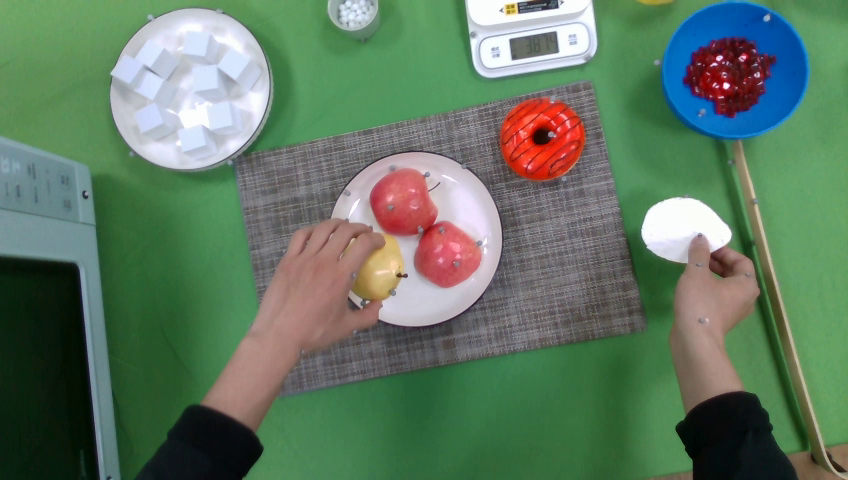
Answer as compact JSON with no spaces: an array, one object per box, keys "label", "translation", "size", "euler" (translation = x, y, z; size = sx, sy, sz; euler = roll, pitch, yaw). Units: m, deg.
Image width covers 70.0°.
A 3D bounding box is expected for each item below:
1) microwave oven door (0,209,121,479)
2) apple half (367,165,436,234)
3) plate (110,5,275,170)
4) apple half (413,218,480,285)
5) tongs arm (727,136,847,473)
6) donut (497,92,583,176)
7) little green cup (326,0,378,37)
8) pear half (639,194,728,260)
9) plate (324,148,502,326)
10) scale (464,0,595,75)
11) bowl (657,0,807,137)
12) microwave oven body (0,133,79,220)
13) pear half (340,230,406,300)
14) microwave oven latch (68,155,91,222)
[{"label":"microwave oven door","translation":[-0.414,0.146,0.626],"size":[0.039,0.244,0.355],"euler":[-9,85,5]},{"label":"apple half","translation":[-0.029,-0.047,0.701],"size":[0.074,0.053,0.080],"euler":[-18,87,6]},{"label":"plate","translation":[-0.285,-0.187,0.758],"size":[0.207,0.039,0.207],"euler":[0,86,6]},{"label":"apple half","translation":[0.023,0.014,0.704],"size":[0.081,0.033,0.081],"euler":[-1,85,6]},{"label":"tongs arm","translation":[0.408,0.067,0.673],"size":[0.051,0.026,0.384],"euler":[-11,86,0]},{"label":"donut","translation":[0.133,-0.123,0.705],"size":[0.099,0.048,0.099],"euler":[0,87,9]},{"label":"little green cup","translation":[-0.085,-0.282,0.745],"size":[0.061,0.039,0.061],"euler":[-1,85,6]},{"label":"pear half","translation":[0.284,-0.014,0.664],"size":[0.087,0.031,0.070],"euler":[11,97,22]},{"label":"plate","translation":[-0.012,-0.004,0.714],"size":[0.209,0.038,0.208],"euler":[0,86,6]},{"label":"scale","translation":[0.121,-0.307,0.729],"size":[0.148,0.031,0.200],"euler":[-7,86,6]},{"label":"bowl","translation":[0.329,-0.182,0.676],"size":[0.151,0.077,0.151],"euler":[0,87,6]},{"label":"microwave oven body","translation":[-0.563,0.126,0.648],"size":[0.326,0.261,0.440],"euler":[-9,86,5]},{"label":"pear half","translation":[-0.055,0.028,0.641],"size":[0.056,0.109,0.076],"euler":[3,95,-29]},{"label":"microwave oven latch","translation":[-0.432,-0.062,0.745],"size":[0.030,0.029,0.079],"euler":[-7,86,5]}]
